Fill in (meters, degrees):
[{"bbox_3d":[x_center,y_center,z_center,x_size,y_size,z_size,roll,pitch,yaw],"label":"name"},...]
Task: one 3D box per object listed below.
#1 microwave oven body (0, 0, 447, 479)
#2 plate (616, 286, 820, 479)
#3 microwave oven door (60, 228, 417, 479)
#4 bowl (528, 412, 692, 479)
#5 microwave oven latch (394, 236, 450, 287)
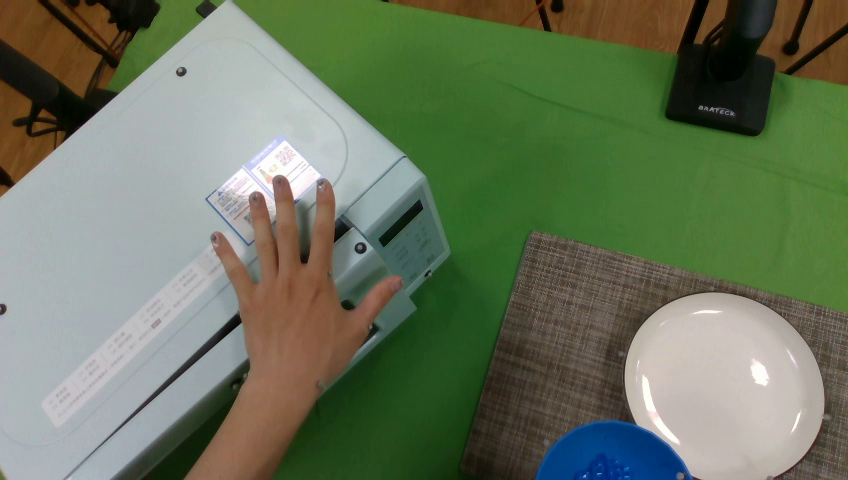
[{"bbox_3d":[-0.246,0.018,0.675,0.441,0.262,0.324,-45,72,-6],"label":"microwave oven body"},{"bbox_3d":[0.318,0.155,0.670,0.207,0.039,0.206,-2,72,7],"label":"plate"},{"bbox_3d":[-0.168,0.146,0.618,0.355,0.245,0.039,-42,70,-6],"label":"microwave oven door"},{"bbox_3d":[0.168,0.241,0.574,0.151,0.077,0.150,0,73,1],"label":"bowl"},{"bbox_3d":[-0.004,0.020,0.743,0.079,0.030,0.030,-43,72,-6],"label":"microwave oven latch"}]
